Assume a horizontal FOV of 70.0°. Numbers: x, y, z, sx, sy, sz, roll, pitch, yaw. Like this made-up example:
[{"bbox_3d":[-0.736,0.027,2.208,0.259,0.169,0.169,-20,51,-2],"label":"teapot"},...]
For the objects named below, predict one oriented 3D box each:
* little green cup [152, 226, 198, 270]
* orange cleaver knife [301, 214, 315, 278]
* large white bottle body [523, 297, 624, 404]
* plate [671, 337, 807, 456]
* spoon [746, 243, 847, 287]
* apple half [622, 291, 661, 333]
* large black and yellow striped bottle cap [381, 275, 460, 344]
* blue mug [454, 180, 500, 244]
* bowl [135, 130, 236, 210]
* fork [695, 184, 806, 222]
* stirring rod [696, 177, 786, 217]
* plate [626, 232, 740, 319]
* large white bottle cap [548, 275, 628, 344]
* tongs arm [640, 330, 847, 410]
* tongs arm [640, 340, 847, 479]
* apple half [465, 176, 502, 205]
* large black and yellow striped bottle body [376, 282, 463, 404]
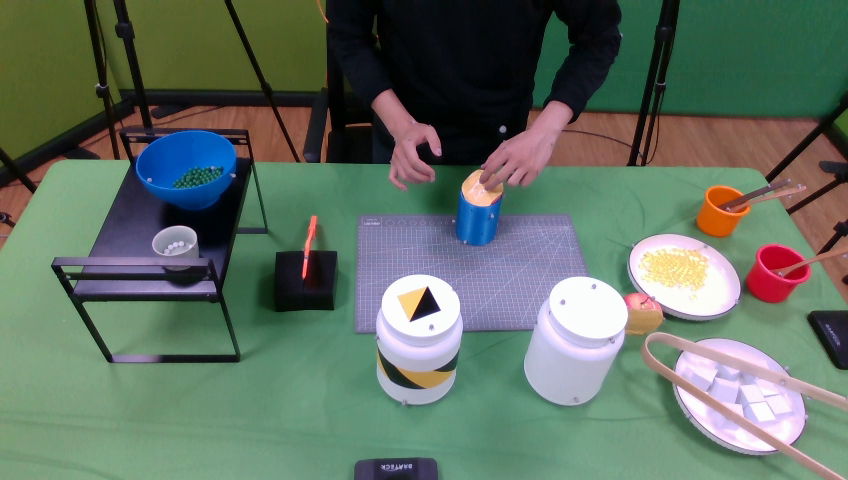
[{"bbox_3d":[-0.364,0.013,0.894,0.061,0.039,0.061,3,47,-3],"label":"little green cup"},{"bbox_3d":[-0.218,0.007,1.131,0.012,0.077,0.210,7,19,-9],"label":"orange cleaver knife"},{"bbox_3d":[0.235,0.159,0.952,0.131,0.185,0.130,2,47,-2],"label":"large white bottle body"},{"bbox_3d":[0.503,0.254,0.984,0.208,0.039,0.206,2,46,-2],"label":"plate"},{"bbox_3d":[0.702,0.043,1.126,0.194,0.022,0.041,-29,38,30],"label":"spoon"},{"bbox_3d":[0.372,0.123,1.074,0.081,0.075,0.053,0,42,1],"label":"apple half"},{"bbox_3d":[-0.005,0.099,0.875,0.115,0.019,0.114,2,45,-2],"label":"large black and yellow striped bottle cap"},{"bbox_3d":[0.106,-0.067,1.208,0.082,0.106,0.116,6,46,1],"label":"blue mug"},{"bbox_3d":[-0.375,-0.102,0.977,0.151,0.077,0.150,2,46,-2],"label":"bowl"},{"bbox_3d":[0.658,-0.074,1.230,0.207,0.019,0.028,-24,33,36],"label":"fork"},{"bbox_3d":[0.648,-0.087,1.244,0.176,0.006,0.014,-25,50,29],"label":"stirring rod"},{"bbox_3d":[0.488,0.071,1.157,0.209,0.038,0.208,3,46,-3],"label":"plate"},{"bbox_3d":[0.240,0.100,0.890,0.115,0.018,0.114,3,47,-3],"label":"large white bottle cap"},{"bbox_3d":[0.543,0.225,0.969,0.384,0.026,0.050,22,52,13],"label":"tongs arm"},{"bbox_3d":[0.500,0.277,0.919,0.386,0.028,0.028,34,59,22],"label":"tongs arm"},{"bbox_3d":[0.120,-0.092,1.176,0.081,0.081,0.033,32,38,24],"label":"apple half"},{"bbox_3d":[-0.010,0.155,0.937,0.131,0.185,0.130,2,47,-2],"label":"large black and yellow striped bottle body"}]
